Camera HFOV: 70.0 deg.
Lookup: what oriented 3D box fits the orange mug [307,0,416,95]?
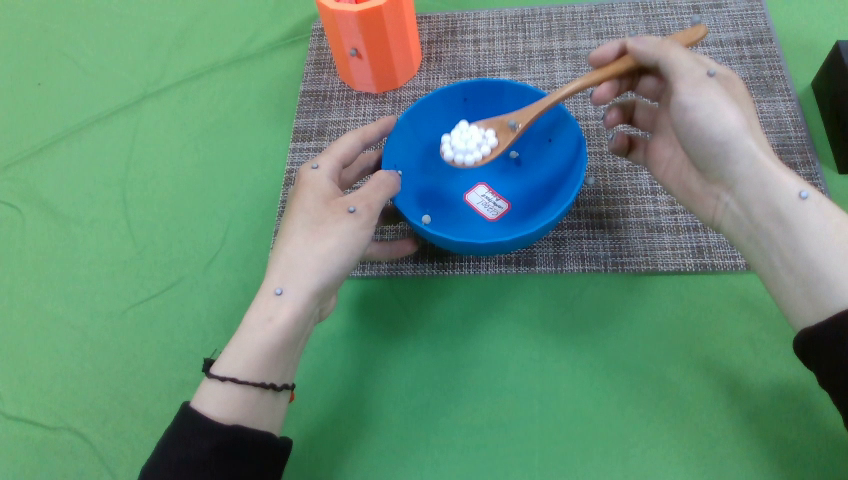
[{"bbox_3d":[-0.052,-0.216,0.570,0.083,0.101,0.125,10,67,12],"label":"orange mug"}]

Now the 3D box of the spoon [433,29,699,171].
[{"bbox_3d":[0.095,-0.098,0.423,0.193,0.022,0.041,-23,71,19],"label":"spoon"}]

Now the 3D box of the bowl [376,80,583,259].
[{"bbox_3d":[0.043,-0.042,0.473,0.151,0.077,0.150,-2,61,5],"label":"bowl"}]
